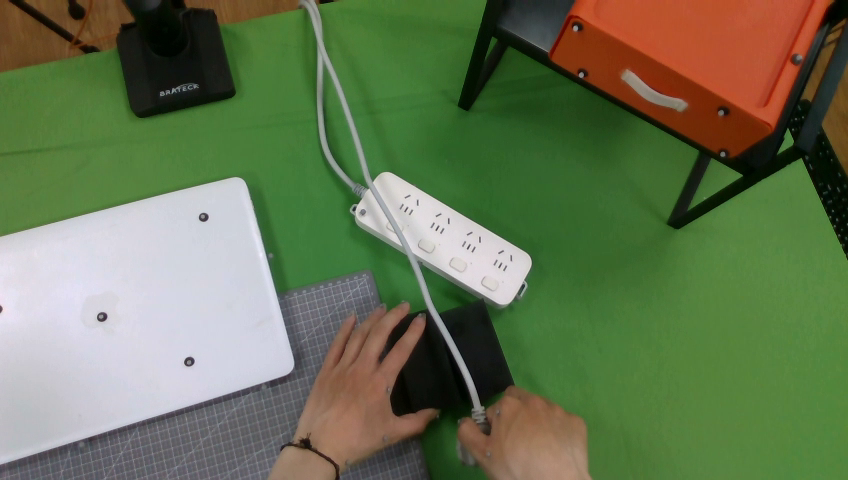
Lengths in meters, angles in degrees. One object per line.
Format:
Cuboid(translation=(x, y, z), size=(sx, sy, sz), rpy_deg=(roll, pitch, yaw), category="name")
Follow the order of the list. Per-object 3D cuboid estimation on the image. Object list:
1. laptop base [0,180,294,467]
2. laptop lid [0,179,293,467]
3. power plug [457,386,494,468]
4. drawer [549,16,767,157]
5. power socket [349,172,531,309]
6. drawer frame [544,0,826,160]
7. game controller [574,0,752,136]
Cuboid(translation=(-0.341, 0.085, 0.656), size=(0.355, 0.023, 0.234), rpy_deg=(-16, 81, -9), category="laptop base")
Cuboid(translation=(-0.339, 0.084, 0.643), size=(0.357, 0.013, 0.240), rpy_deg=(-15, 79, -9), category="laptop lid")
Cuboid(translation=(0.055, 0.188, 0.599), size=(0.035, 0.053, 0.072), rpy_deg=(23, 63, -8), category="power plug")
Cuboid(translation=(0.252, -0.215, 0.569), size=(0.194, 0.073, 0.211), rpy_deg=(30, 75, 3), category="drawer")
Cuboid(translation=(0.021, 0.001, 0.703), size=(0.226, 0.033, 0.072), rpy_deg=(31, 75, 3), category="power socket")
Cuboid(translation=(0.252, -0.218, 0.569), size=(0.201, 0.083, 0.213), rpy_deg=(29, 75, 3), category="drawer frame")
Cuboid(translation=(0.231, -0.176, 0.571), size=(0.155, 0.052, 0.097), rpy_deg=(33, 79, 6), category="game controller")
